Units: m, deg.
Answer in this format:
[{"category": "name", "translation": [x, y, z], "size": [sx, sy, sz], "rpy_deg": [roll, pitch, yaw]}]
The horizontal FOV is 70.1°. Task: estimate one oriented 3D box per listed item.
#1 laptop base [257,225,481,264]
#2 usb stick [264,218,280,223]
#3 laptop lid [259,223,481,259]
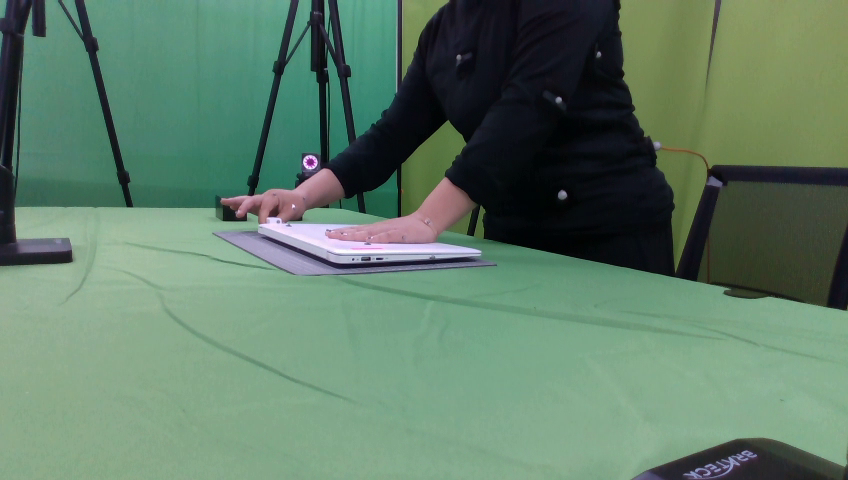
[{"category": "laptop base", "translation": [-0.103, 0.007, 0.961], "size": [0.237, 0.023, 0.352], "rpy_deg": [3, 6, -32]}, {"category": "usb stick", "translation": [-0.270, -0.025, 1.079], "size": [0.021, 0.027, 0.059], "rpy_deg": [-7, 8, -25]}, {"category": "laptop lid", "translation": [-0.101, -0.002, 0.960], "size": [0.243, 0.013, 0.355], "rpy_deg": [2, 7, -30]}]
